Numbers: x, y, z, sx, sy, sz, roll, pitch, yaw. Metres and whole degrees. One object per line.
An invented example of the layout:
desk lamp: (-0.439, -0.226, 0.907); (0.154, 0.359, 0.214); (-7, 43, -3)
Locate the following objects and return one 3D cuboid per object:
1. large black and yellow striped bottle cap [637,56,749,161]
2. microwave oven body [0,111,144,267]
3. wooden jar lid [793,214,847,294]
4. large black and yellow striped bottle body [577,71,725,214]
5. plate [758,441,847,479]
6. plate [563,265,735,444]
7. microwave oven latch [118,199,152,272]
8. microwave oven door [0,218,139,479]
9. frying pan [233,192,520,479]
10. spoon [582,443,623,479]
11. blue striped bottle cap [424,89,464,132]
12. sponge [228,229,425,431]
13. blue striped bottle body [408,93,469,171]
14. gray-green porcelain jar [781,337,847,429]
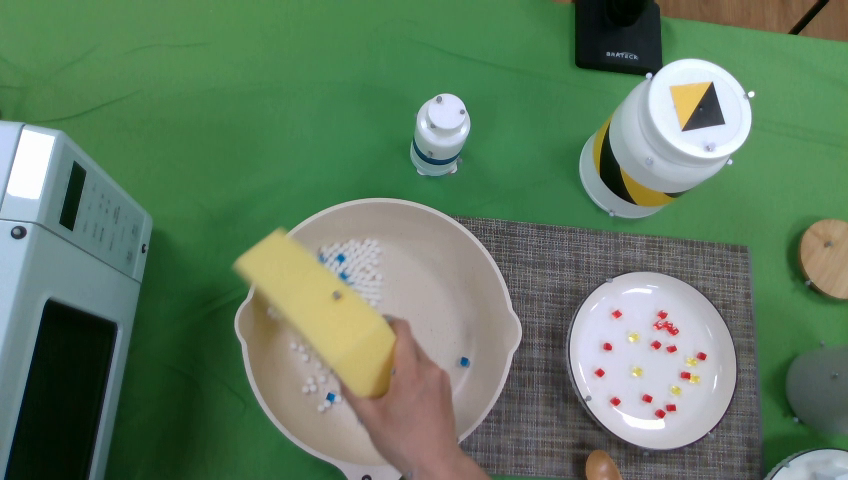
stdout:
large black and yellow striped bottle cap: (0.281, -0.138, 0.634); (0.115, 0.019, 0.114); (2, 75, -6)
microwave oven body: (-0.473, 0.126, 0.519); (0.327, 0.261, 0.439); (6, 76, -6)
wooden jar lid: (0.538, 0.019, 0.801); (0.108, 0.021, 0.108); (2, 78, -6)
large black and yellow striped bottle body: (0.272, -0.118, 0.716); (0.131, 0.184, 0.130); (2, 75, -6)
plate: (0.472, 0.341, 0.706); (0.208, 0.039, 0.206); (2, 76, -6)
plate: (0.264, 0.134, 0.725); (0.209, 0.038, 0.208); (2, 76, -6)
microwave oven latch: (-0.324, -0.006, 0.669); (0.030, 0.029, 0.079); (9, 76, -5)
microwave oven door: (-0.332, 0.181, 0.518); (0.039, 0.244, 0.354); (6, 75, -5)
frying pan: (-0.054, 0.189, 0.639); (0.307, 0.103, 0.484); (4, 68, -4)
spoon: (0.248, 0.308, 0.690); (0.193, 0.022, 0.041); (46, 59, 4)
blue striped bottle cap: (0.022, -0.144, 0.670); (0.044, 0.021, 0.044); (2, 73, -5)
sponge: (-0.101, 0.083, 0.601); (0.061, 0.119, 0.204); (-41, 43, -17)
blue striped bottle body: (0.017, -0.132, 0.719); (0.063, 0.121, 0.063); (2, 76, -7)
gray-green porcelain jar: (0.496, 0.166, 0.705); (0.106, 0.127, 0.105); (2, 76, -6)
